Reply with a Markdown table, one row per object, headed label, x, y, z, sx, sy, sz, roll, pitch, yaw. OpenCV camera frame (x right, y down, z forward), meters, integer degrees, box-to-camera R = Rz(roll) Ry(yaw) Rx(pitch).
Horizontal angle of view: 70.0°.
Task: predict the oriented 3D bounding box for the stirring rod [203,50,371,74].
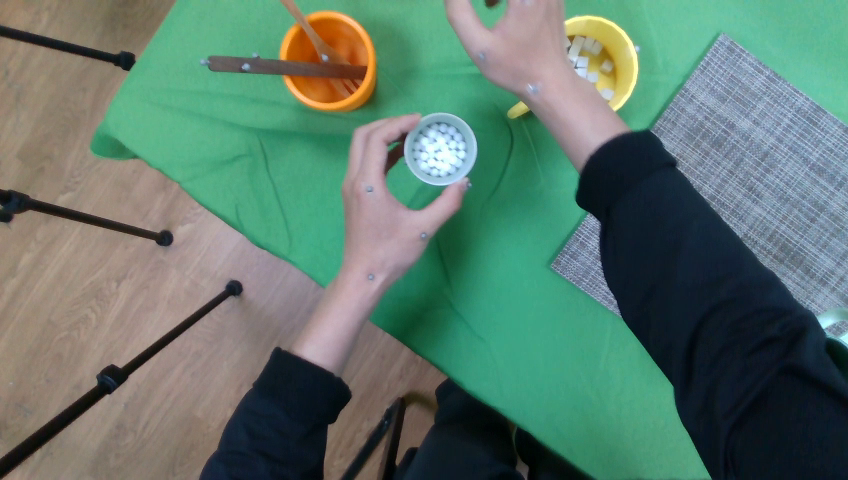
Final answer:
| label | x | y | z | sx | sy | sz | roll | pitch | yaw |
| --- | --- | --- | --- | --- | --- | --- | --- | --- | --- |
| stirring rod | -0.123 | -0.169 | 0.578 | 0.177 | 0.006 | 0.014 | -10 | 99 | -40 |

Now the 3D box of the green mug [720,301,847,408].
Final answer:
| label | x | y | z | sx | sy | sz | roll | pitch | yaw |
| --- | --- | --- | --- | --- | --- | --- | --- | --- | --- |
| green mug | 0.377 | 0.104 | 0.612 | 0.125 | 0.105 | 0.092 | -38 | 93 | 5 |

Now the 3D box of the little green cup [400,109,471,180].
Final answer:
| label | x | y | z | sx | sy | sz | roll | pitch | yaw |
| --- | --- | --- | --- | --- | --- | --- | --- | --- | --- |
| little green cup | 0.010 | -0.085 | 0.529 | 0.061 | 0.038 | 0.062 | 0 | 108 | 0 |

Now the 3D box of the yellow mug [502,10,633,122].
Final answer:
| label | x | y | z | sx | sy | sz | roll | pitch | yaw |
| --- | --- | --- | --- | --- | --- | --- | --- | --- | --- |
| yellow mug | 0.138 | -0.164 | 0.611 | 0.131 | 0.064 | 0.100 | -29 | 95 | 5 |

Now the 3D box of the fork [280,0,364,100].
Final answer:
| label | x | y | z | sx | sy | sz | roll | pitch | yaw |
| --- | --- | --- | --- | --- | --- | --- | --- | --- | --- |
| fork | -0.120 | -0.211 | 0.568 | 0.028 | 0.018 | 0.210 | -39 | 137 | 2 |
